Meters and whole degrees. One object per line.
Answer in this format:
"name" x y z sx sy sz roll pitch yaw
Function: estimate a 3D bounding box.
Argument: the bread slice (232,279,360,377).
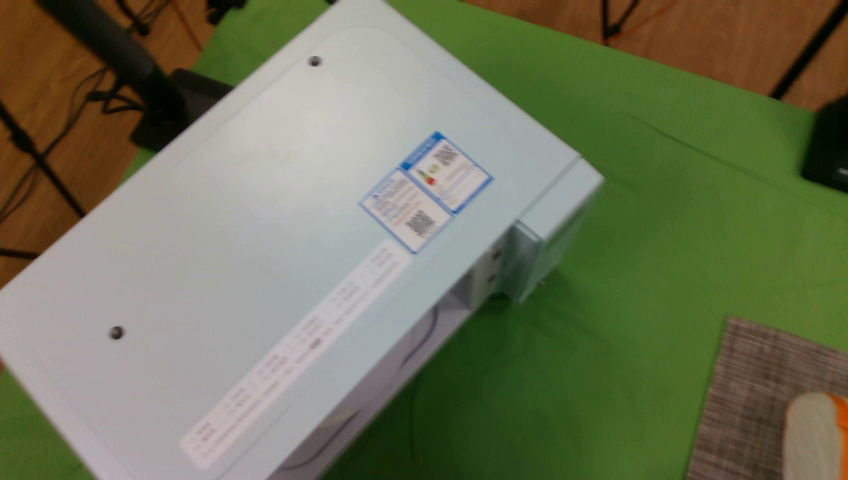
"bread slice" -0.135 0.096 0.648 0.134 0.018 0.106 -1 71 -6

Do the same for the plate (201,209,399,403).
"plate" -0.129 0.069 0.650 0.208 0.039 0.206 0 73 1

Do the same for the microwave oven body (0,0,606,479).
"microwave oven body" -0.106 0.029 0.609 0.324 0.262 0.441 42 79 14

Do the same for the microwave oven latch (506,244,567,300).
"microwave oven latch" 0.130 0.031 0.698 0.030 0.030 0.079 43 80 15
